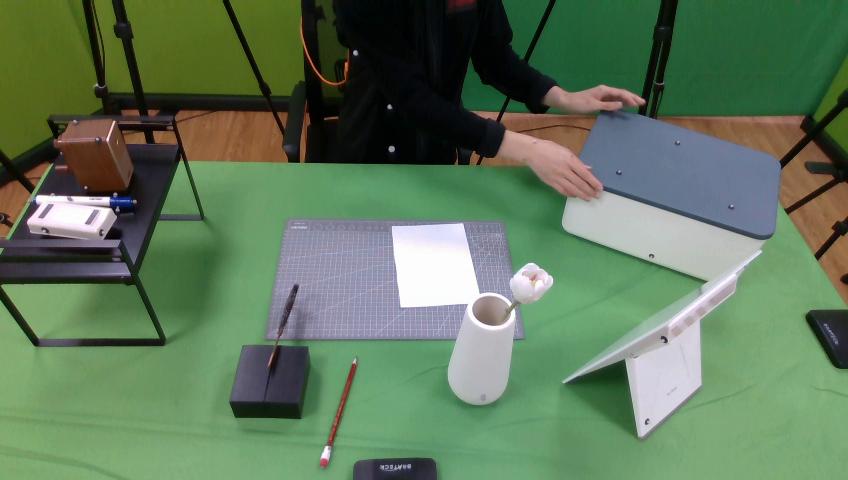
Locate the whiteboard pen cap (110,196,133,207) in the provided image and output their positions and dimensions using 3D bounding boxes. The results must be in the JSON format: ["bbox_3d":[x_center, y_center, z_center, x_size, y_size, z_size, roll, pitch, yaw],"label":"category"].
[{"bbox_3d":[-0.486,-0.061,0.972,0.033,0.018,0.018,0,46,-9],"label":"whiteboard pen cap"}]

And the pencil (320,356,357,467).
[{"bbox_3d":[-0.130,0.261,0.946,0.012,0.012,0.193,10,45,5],"label":"pencil"}]

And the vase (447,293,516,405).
[{"bbox_3d":[0.091,0.169,0.921,0.098,0.201,0.097,3,47,-3],"label":"vase"}]

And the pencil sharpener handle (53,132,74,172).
[{"bbox_3d":[-0.578,-0.138,0.961,0.031,0.068,0.036,-4,34,-7],"label":"pencil sharpener handle"}]

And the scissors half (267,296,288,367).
[{"bbox_3d":[-0.239,0.150,0.997,0.013,0.040,0.174,24,24,-13],"label":"scissors half"}]

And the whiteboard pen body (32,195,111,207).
[{"bbox_3d":[-0.543,-0.061,0.961,0.141,0.017,0.017,1,46,-10],"label":"whiteboard pen body"}]

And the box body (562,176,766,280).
[{"bbox_3d":[0.486,-0.088,1.222,0.363,0.161,0.253,20,48,15],"label":"box body"}]

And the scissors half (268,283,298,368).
[{"bbox_3d":[-0.230,0.135,0.986,0.013,0.040,0.174,19,43,-11],"label":"scissors half"}]

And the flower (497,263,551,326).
[{"bbox_3d":[0.103,0.121,0.853,0.044,0.363,0.038,-1,64,-9],"label":"flower"}]

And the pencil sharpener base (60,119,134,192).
[{"bbox_3d":[-0.528,-0.135,0.979,0.077,0.107,0.061,-4,47,-7],"label":"pencil sharpener base"}]

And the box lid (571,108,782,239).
[{"bbox_3d":[0.491,-0.139,1.168,0.370,0.015,0.262,20,49,15],"label":"box lid"}]

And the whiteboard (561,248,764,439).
[{"bbox_3d":[0.386,0.176,0.905,0.217,0.306,0.143,-26,72,-27],"label":"whiteboard"}]

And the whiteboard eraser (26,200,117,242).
[{"bbox_3d":[-0.532,-0.026,0.919,0.113,0.042,0.055,7,45,3],"label":"whiteboard eraser"}]
